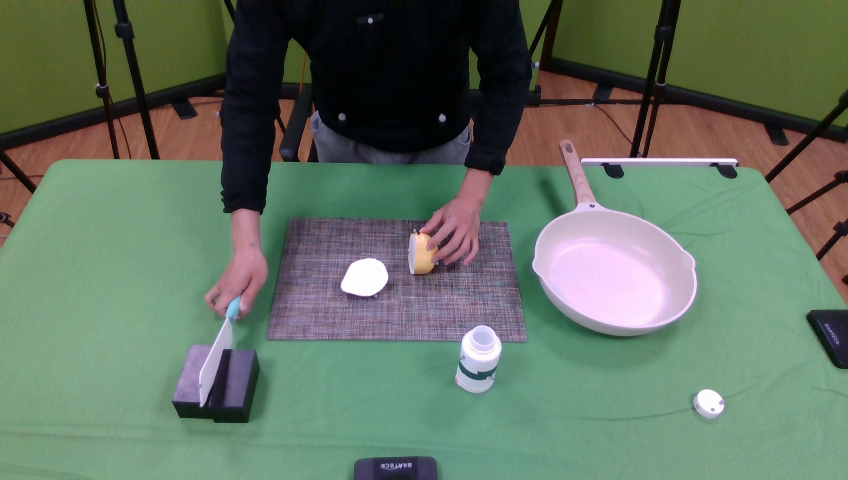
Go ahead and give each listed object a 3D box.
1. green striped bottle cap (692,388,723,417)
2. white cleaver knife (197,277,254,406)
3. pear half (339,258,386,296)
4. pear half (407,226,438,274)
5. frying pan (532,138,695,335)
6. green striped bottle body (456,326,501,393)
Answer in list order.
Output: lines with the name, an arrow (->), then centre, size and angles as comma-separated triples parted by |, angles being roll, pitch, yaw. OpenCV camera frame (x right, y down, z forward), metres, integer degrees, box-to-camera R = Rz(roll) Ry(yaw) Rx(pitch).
green striped bottle cap -> 0.460, 0.263, 0.984 | 0.044, 0.020, 0.044 | 3, 46, -3
white cleaver knife -> -0.319, 0.150, 0.974 | 0.021, 0.066, 0.285 | 7, 28, -3
pear half -> -0.112, 0.073, 1.106 | 0.088, 0.031, 0.070 | -25, 68, -11
pear half -> -0.001, 0.012, 1.120 | 0.056, 0.110, 0.076 | -8, 52, -13
frying pan -> 0.336, -0.024, 1.190 | 0.307, 0.103, 0.484 | -2, 55, -7
green striped bottle body -> 0.086, 0.185, 0.959 | 0.063, 0.120, 0.063 | 2, 46, -2
